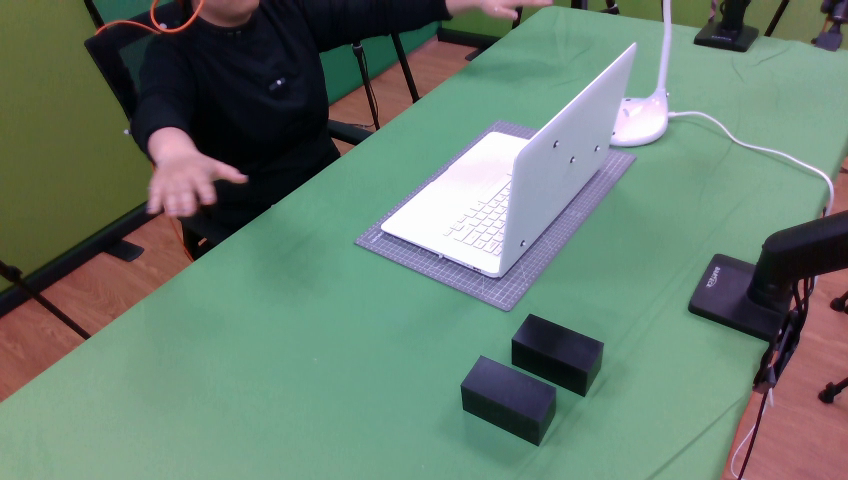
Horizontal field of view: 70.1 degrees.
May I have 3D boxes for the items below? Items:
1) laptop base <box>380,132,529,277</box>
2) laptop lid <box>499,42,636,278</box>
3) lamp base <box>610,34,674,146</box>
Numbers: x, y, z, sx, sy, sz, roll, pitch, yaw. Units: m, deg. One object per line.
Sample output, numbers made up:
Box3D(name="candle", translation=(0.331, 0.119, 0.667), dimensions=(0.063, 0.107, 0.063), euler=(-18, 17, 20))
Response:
Box3D(name="laptop base", translation=(0.122, -0.077, 1.042), dimensions=(0.233, 0.023, 0.355), euler=(20, 47, 33))
Box3D(name="laptop lid", translation=(0.217, -0.122, 0.898), dimensions=(0.013, 0.242, 0.358), euler=(28, 50, 25))
Box3D(name="lamp base", translation=(0.392, -0.291, 1.129), dimensions=(0.180, 0.181, 0.159), euler=(-11, 41, -8))
